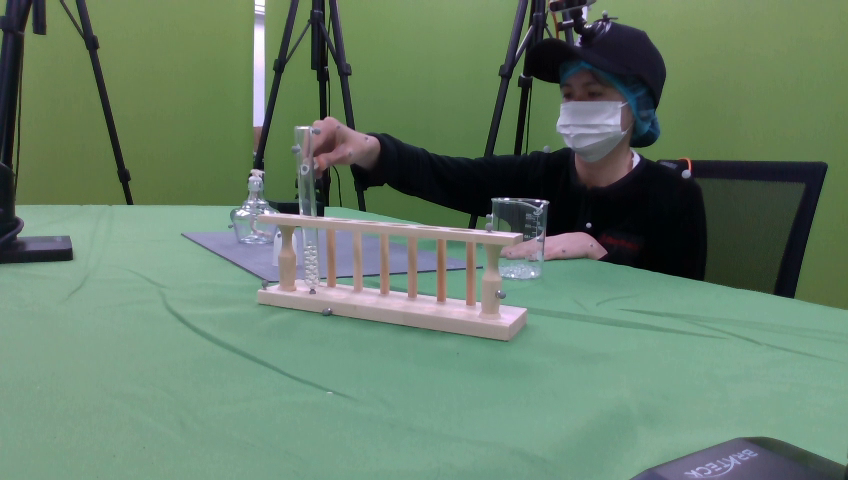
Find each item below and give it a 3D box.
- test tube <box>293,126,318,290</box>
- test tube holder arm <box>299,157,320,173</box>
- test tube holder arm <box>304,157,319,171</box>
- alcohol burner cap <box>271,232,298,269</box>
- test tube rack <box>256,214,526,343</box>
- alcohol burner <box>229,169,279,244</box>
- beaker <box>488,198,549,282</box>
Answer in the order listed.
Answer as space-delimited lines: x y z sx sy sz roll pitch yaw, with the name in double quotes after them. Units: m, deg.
-0.107 -0.027 0.550 0.017 0.150 0.017 -1 11 0 "test tube"
-0.148 -0.100 0.793 0.013 0.015 0.178 -12 10 -4 "test tube holder arm"
-0.138 -0.094 0.749 0.010 0.015 0.087 -12 10 -4 "test tube holder arm"
-0.175 0.012 0.761 0.034 0.048 0.034 3 8 0 "alcohol burner cap"
-0.032 0.027 0.547 0.241 0.085 0.067 5 7 22 "test tube rack"
-0.268 -0.053 0.958 0.078 0.119 0.078 2 6 0 "alcohol burner"
0.120 -0.001 0.768 0.074 0.100 0.083 -1 9 -25 "beaker"
